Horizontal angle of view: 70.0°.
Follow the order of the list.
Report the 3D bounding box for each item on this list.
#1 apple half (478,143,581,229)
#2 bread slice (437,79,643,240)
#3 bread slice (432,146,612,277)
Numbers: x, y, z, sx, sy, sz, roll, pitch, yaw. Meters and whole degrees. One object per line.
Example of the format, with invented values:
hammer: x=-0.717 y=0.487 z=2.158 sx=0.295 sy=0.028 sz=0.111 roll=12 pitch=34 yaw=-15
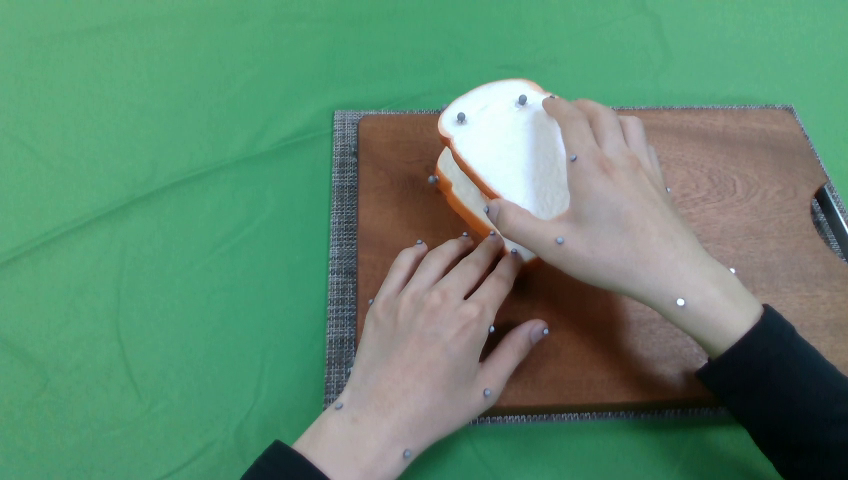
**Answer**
apple half: x=0.082 y=-0.047 z=0.466 sx=0.081 sy=0.033 sz=0.080 roll=2 pitch=60 yaw=-3
bread slice: x=0.074 y=-0.067 z=0.448 sx=0.107 sy=0.018 sz=0.133 roll=-35 pitch=64 yaw=-23
bread slice: x=0.070 y=-0.042 z=0.488 sx=0.105 sy=0.019 sz=0.130 roll=-33 pitch=65 yaw=-23
